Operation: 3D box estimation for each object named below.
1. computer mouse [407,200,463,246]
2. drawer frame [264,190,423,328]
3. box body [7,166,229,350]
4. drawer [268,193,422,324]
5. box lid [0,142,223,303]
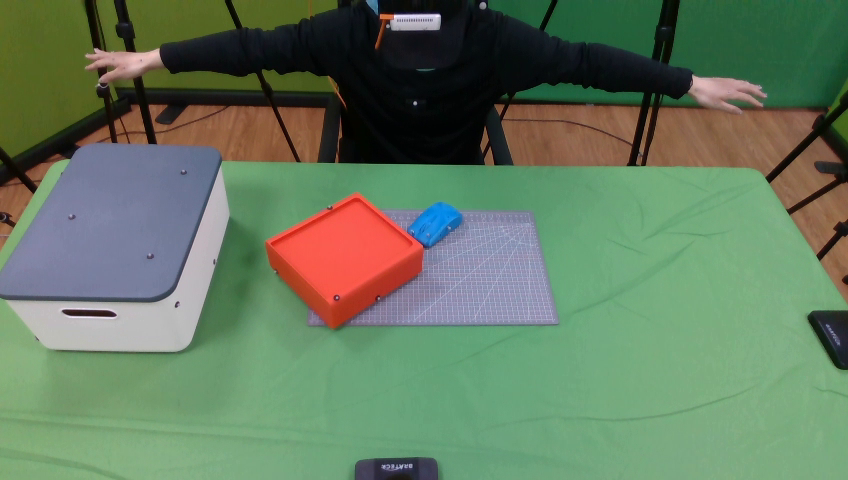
[{"bbox_3d":[0.022,-0.037,1.220,0.062,0.041,0.117,37,59,25],"label":"computer mouse"},{"bbox_3d":[-0.144,0.028,1.114,0.213,0.083,0.200,-34,57,-29],"label":"drawer frame"},{"bbox_3d":[-0.502,0.008,1.054,0.254,0.161,0.361,1,46,-3],"label":"box body"},{"bbox_3d":[-0.143,0.028,1.116,0.212,0.073,0.193,-33,57,-29],"label":"drawer"},{"bbox_3d":[-0.499,-0.045,1.002,0.263,0.015,0.369,2,46,-3],"label":"box lid"}]
